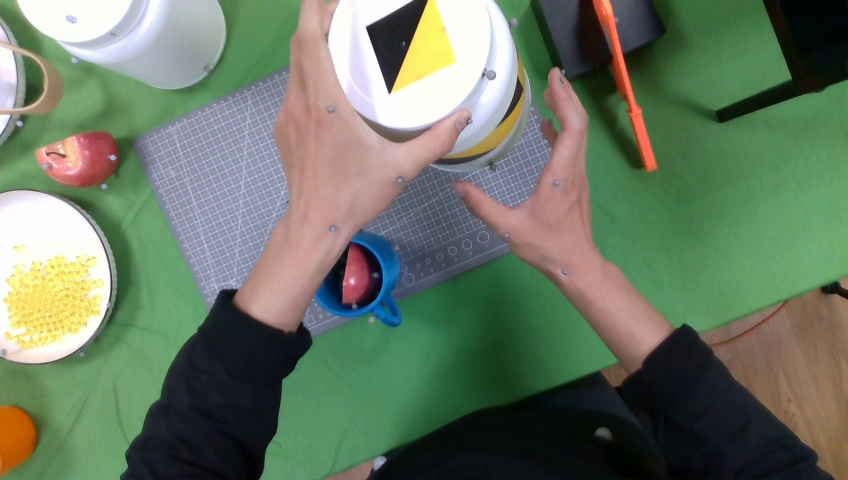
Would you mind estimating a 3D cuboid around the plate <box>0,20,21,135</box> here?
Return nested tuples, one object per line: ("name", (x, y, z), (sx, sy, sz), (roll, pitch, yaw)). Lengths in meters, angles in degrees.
("plate", (-0.568, -0.194, 0.710), (0.207, 0.039, 0.208), (0, 95, 3))

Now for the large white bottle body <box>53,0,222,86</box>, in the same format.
("large white bottle body", (-0.302, -0.238, 0.616), (0.130, 0.184, 0.130), (0, 94, 4))

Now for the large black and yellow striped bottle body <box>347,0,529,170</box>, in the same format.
("large black and yellow striped bottle body", (0.012, -0.131, 0.492), (0.130, 0.184, 0.130), (0, 89, 16))

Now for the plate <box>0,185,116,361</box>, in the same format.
("plate", (-0.465, 0.038, 0.723), (0.209, 0.038, 0.209), (0, 95, 4))

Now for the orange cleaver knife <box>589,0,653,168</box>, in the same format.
("orange cleaver knife", (0.205, -0.175, 0.641), (0.012, 0.076, 0.213), (-21, 119, 14))

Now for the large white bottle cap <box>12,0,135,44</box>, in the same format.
("large white bottle cap", (-0.309, -0.232, 0.532), (0.115, 0.018, 0.115), (0, 95, 4))

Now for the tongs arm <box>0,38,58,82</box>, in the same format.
("tongs arm", (-0.588, -0.251, 0.676), (0.387, 0.028, 0.028), (19, 89, 4))

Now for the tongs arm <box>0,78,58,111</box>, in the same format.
("tongs arm", (-0.602, -0.169, 0.682), (0.384, 0.026, 0.051), (5, 91, 5))

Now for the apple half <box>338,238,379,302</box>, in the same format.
("apple half", (-0.065, 0.032, 0.656), (0.032, 0.081, 0.081), (9, 95, 11))

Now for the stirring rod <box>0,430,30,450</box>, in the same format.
("stirring rod", (-0.554, 0.260, 0.693), (0.177, 0.006, 0.014), (-17, 82, -35))

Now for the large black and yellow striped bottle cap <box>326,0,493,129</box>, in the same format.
("large black and yellow striped bottle cap", (-0.011, -0.134, 0.411), (0.114, 0.019, 0.115), (0, 91, 14))

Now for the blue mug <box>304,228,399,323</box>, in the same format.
("blue mug", (-0.066, 0.043, 0.662), (0.082, 0.106, 0.116), (-39, 92, 6))

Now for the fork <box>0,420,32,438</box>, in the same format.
("fork", (-0.570, 0.245, 0.690), (0.208, 0.018, 0.028), (-9, 94, -39))

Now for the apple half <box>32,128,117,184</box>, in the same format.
("apple half", (-0.390, -0.091, 0.690), (0.081, 0.074, 0.053), (-19, 97, 1))
